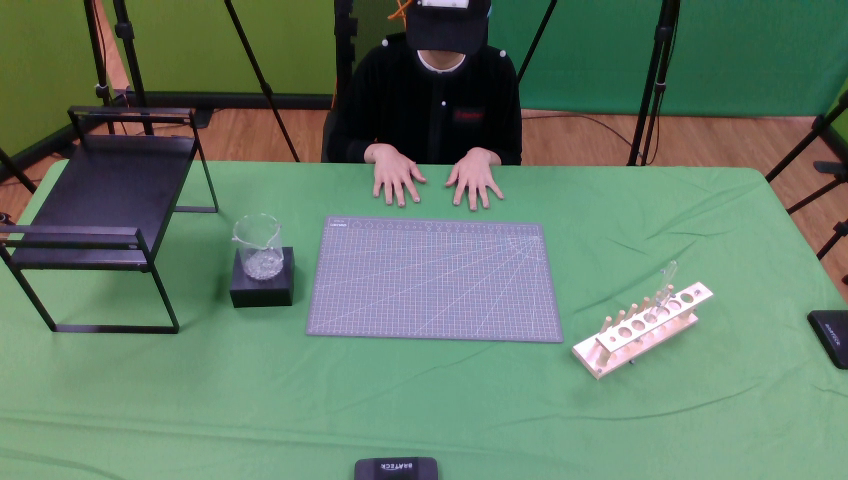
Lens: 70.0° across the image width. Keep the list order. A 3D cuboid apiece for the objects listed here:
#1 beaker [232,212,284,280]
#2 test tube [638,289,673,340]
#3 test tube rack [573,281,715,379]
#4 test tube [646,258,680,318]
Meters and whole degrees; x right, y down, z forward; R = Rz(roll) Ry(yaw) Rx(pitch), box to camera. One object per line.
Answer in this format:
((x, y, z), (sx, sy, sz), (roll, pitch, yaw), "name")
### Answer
((-0.280, 0.016, 1.037), (0.074, 0.101, 0.083), (-18, 50, -20), "beaker")
((0.373, 0.124, 0.983), (0.017, 0.151, 0.017), (0, 54, 0), "test tube")
((0.378, 0.140, 1.038), (0.242, 0.085, 0.066), (-22, 51, -23), "test tube rack")
((0.406, 0.084, 1.033), (0.017, 0.151, 0.017), (1, 46, -1), "test tube")
